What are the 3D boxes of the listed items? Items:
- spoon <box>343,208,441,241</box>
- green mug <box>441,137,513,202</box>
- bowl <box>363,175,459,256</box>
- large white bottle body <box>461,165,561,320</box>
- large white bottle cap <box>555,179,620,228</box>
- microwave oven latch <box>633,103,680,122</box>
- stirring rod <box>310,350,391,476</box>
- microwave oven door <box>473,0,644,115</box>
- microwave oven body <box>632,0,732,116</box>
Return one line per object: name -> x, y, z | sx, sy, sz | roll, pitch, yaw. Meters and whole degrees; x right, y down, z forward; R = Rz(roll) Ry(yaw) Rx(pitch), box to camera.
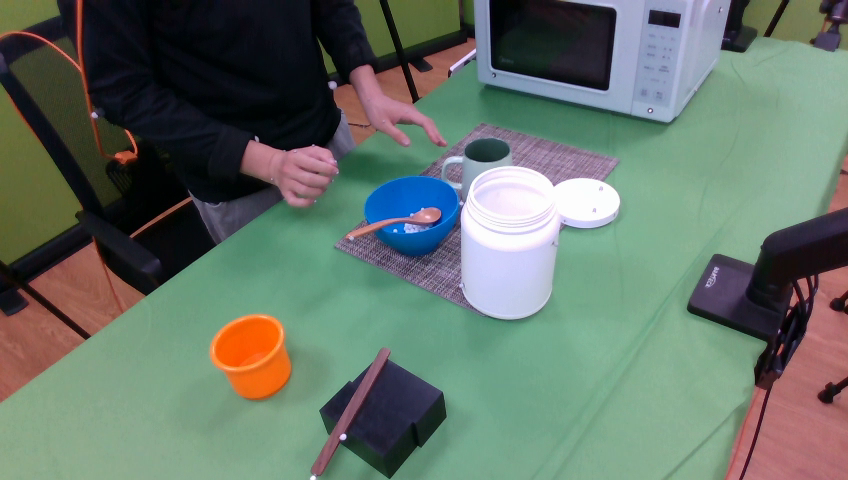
spoon -> -0.046, -0.025, 0.911 | 0.041, 0.021, 0.195 | 26, 27, 37
green mug -> 0.091, -0.108, 1.012 | 0.125, 0.105, 0.092 | 2, 42, 11
bowl -> -0.016, -0.029, 0.955 | 0.151, 0.077, 0.150 | -4, 40, 4
large white bottle body -> 0.115, 0.004, 0.816 | 0.130, 0.185, 0.130 | -2, 43, 2
large white bottle cap -> 0.265, -0.062, 1.001 | 0.115, 0.018, 0.114 | -3, 41, 3
microwave oven latch -> 0.444, -0.249, 1.157 | 0.078, 0.029, 0.030 | 21, 49, 30
stirring rod -> -0.081, 0.192, 0.693 | 0.014, 0.006, 0.176 | 7, 40, 25
microwave oven door -> 0.257, -0.396, 1.199 | 0.353, 0.245, 0.039 | 21, 48, 29
microwave oven body -> 0.377, -0.462, 1.267 | 0.438, 0.261, 0.327 | 21, 49, 30
